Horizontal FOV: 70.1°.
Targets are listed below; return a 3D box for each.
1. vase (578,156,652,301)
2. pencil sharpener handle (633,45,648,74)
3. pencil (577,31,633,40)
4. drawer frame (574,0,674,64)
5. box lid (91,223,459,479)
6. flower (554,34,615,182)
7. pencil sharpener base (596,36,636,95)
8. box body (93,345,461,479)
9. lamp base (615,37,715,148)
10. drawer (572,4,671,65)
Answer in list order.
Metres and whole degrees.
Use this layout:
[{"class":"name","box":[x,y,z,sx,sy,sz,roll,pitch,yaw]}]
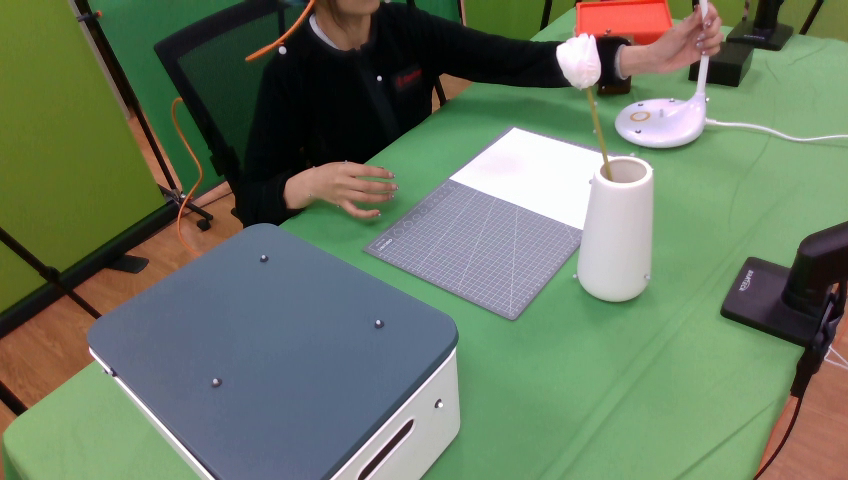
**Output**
[{"class":"vase","box":[0.261,-0.011,0.812,0.098,0.201,0.097,-4,40,4]},{"class":"pencil sharpener handle","box":[0.454,-0.378,1.262,0.030,0.068,0.036,1,47,13]},{"class":"pencil","box":[0.430,-0.487,1.443,0.012,0.012,0.192,-25,30,-18]},{"class":"drawer frame","box":[0.464,-0.492,1.434,0.213,0.083,0.201,1,40,12]},{"class":"box lid","box":[-0.174,0.102,0.666,0.368,0.015,0.264,24,48,35]},{"class":"flower","box":[0.237,-0.083,0.774,0.044,0.363,0.038,-23,26,6]},{"class":"pencil sharpener base","box":[0.406,-0.369,1.280,0.076,0.107,0.061,1,41,13]},{"class":"box body","box":[-0.162,0.170,0.708,0.361,0.161,0.255,25,50,34]},{"class":"lamp base","box":[0.450,-0.282,1.104,0.179,0.181,0.160,-1,41,7]},{"class":"drawer","box":[0.461,-0.490,1.435,0.211,0.073,0.194,2,41,12]}]
